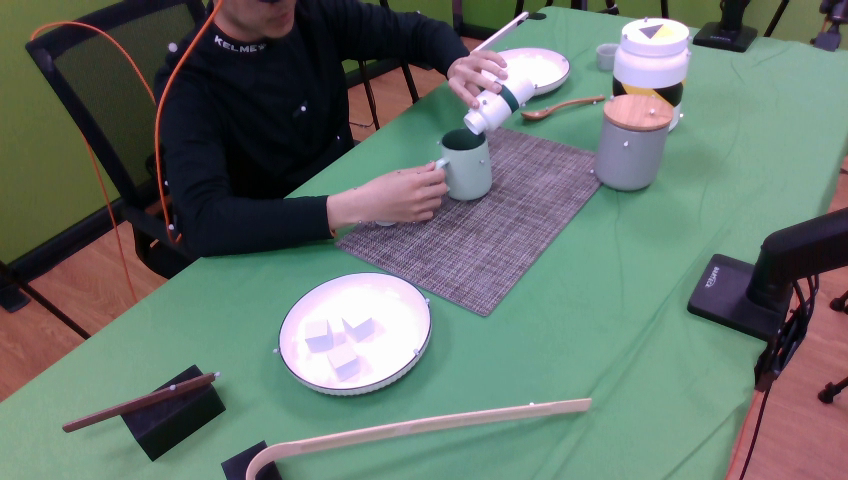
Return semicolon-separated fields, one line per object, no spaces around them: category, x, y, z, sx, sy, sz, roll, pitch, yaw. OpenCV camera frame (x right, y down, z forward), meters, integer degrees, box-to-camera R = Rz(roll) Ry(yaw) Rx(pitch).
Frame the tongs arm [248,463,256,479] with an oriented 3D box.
tongs arm;0.012;0.262;0.615;0.385;0.026;0.050;2;42;-2

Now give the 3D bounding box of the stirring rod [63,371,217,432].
stirring rod;-0.337;0.192;0.723;0.177;0.014;0.005;-18;42;-12

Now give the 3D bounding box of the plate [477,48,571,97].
plate;0.223;-0.371;1.357;0.209;0.038;0.208;-4;41;4

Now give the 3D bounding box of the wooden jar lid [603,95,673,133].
wooden jar lid;0.343;-0.200;0.974;0.108;0.021;0.108;-2;39;2

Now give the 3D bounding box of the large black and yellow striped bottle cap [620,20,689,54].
large black and yellow striped bottle cap;0.411;-0.363;1.079;0.115;0.019;0.114;-4;42;4

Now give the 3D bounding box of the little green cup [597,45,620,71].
little green cup;0.423;-0.413;1.376;0.061;0.039;0.061;-4;41;4

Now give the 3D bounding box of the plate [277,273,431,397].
plate;-0.091;0.129;0.821;0.207;0.039;0.206;-4;40;4

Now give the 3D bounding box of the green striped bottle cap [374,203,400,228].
green striped bottle cap;-0.063;-0.042;1.030;0.044;0.020;0.044;-2;45;2

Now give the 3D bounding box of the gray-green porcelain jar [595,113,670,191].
gray-green porcelain jar;0.346;-0.155;1.017;0.106;0.127;0.105;-2;44;2

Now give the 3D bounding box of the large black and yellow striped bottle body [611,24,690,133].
large black and yellow striped bottle body;0.420;-0.299;1.132;0.131;0.185;0.130;-5;40;4

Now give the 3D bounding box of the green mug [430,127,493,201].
green mug;0.059;-0.122;1.034;0.126;0.105;0.092;-35;48;-29

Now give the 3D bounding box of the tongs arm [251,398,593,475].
tongs arm;0.008;0.212;0.675;0.389;0.028;0.028;-5;46;-11

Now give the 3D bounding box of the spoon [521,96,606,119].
spoon;0.291;-0.277;1.249;0.194;0.022;0.041;-18;22;-11

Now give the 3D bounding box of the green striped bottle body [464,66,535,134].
green striped bottle body;0.123;-0.230;1.014;0.119;0.063;0.062;-42;47;-4
